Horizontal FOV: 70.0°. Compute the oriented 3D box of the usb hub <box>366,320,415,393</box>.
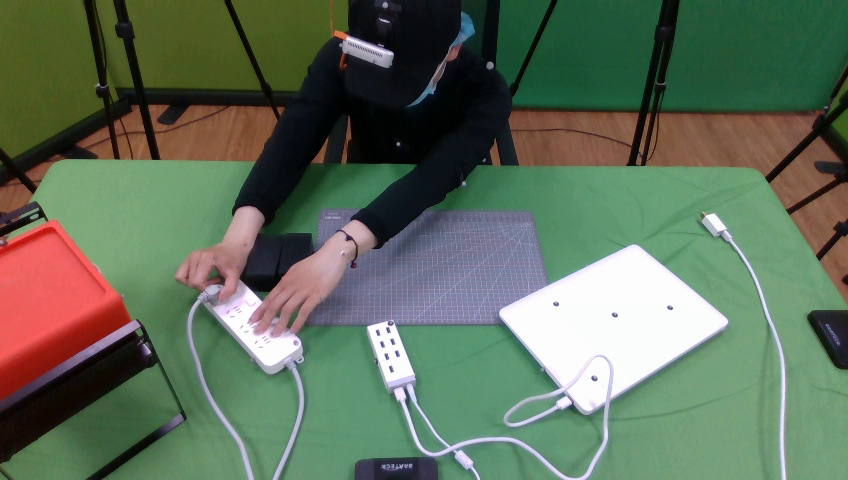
[{"bbox_3d":[-0.056,0.192,1.009,0.049,0.025,0.124,-12,49,-16],"label":"usb hub"}]

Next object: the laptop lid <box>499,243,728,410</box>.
[{"bbox_3d":[0.339,0.135,1.081,0.357,0.013,0.240,-21,50,-23],"label":"laptop lid"}]

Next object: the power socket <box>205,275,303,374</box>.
[{"bbox_3d":[-0.295,0.140,1.035,0.072,0.033,0.225,-34,58,-30],"label":"power socket"}]

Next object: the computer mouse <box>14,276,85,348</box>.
[{"bbox_3d":[-0.496,0.090,0.804,0.063,0.041,0.116,-7,42,-7],"label":"computer mouse"}]

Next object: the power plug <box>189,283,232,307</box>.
[{"bbox_3d":[-0.367,0.099,1.040,0.072,0.053,0.035,-24,58,-21],"label":"power plug"}]

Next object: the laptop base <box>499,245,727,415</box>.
[{"bbox_3d":[0.339,0.145,1.088,0.354,0.023,0.234,-23,49,-24],"label":"laptop base"}]

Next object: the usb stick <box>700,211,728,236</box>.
[{"bbox_3d":[0.606,-0.038,1.273,0.027,0.021,0.059,-18,56,-20],"label":"usb stick"}]

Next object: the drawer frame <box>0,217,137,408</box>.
[{"bbox_3d":[-0.523,0.094,0.779,0.200,0.083,0.213,37,55,26],"label":"drawer frame"}]

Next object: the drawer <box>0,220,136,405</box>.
[{"bbox_3d":[-0.522,0.093,0.782,0.193,0.073,0.211,38,55,27],"label":"drawer"}]
